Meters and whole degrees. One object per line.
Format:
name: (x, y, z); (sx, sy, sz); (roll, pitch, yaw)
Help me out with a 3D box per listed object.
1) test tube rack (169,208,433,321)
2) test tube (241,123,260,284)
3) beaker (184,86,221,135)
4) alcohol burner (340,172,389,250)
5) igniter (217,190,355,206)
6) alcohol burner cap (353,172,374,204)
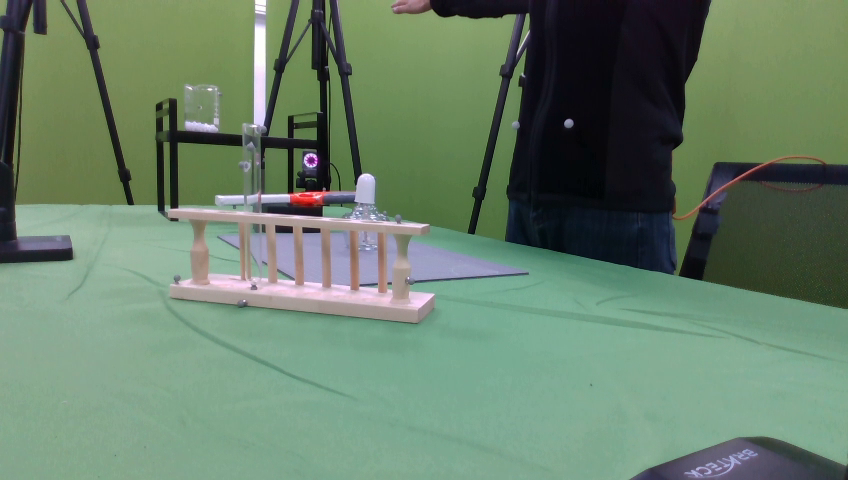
test tube rack: (-0.115, 0.018, 0.574); (0.242, 0.085, 0.067); (4, 8, 13)
test tube: (-0.160, -0.032, 0.558); (0.017, 0.150, 0.017); (3, 13, 0)
beaker: (-0.475, -0.277, 1.296); (0.074, 0.100, 0.084); (2, 8, -1)
alcohol burner: (-0.093, -0.045, 0.939); (0.078, 0.119, 0.078); (0, 7, 0)
igniter: (-0.248, -0.079, 1.152); (0.278, 0.025, 0.057); (-4, 11, -27)
alcohol burner cap: (-0.092, -0.081, 0.936); (0.034, 0.048, 0.034); (6, 10, -1)
